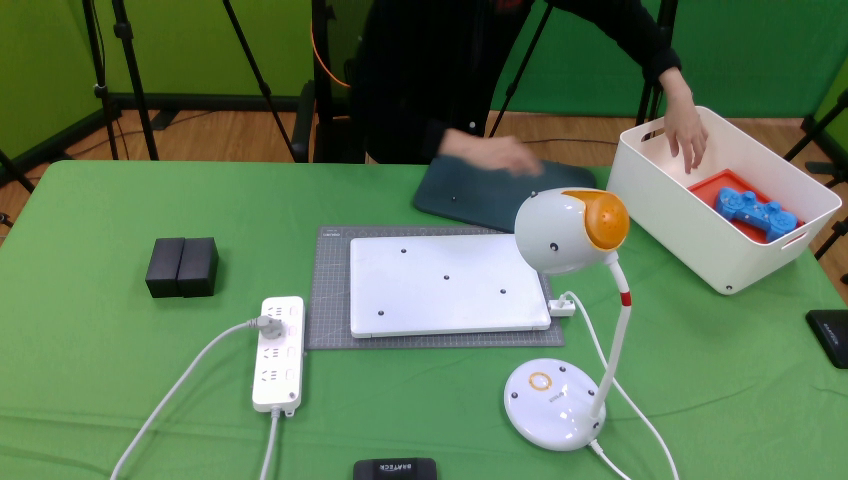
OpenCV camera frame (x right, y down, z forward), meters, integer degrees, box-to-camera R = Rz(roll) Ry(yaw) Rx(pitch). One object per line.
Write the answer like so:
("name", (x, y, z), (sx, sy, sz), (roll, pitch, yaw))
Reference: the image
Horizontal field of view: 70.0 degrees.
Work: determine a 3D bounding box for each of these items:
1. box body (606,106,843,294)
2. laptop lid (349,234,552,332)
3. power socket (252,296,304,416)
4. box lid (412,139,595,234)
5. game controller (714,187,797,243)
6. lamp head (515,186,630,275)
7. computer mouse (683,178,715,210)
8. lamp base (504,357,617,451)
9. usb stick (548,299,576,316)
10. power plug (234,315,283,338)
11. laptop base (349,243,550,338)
("box body", (0.582, -0.088, 1.230), (0.254, 0.161, 0.361), (-22, 52, -23))
("laptop lid", (0.040, 0.071, 1.118), (0.357, 0.013, 0.240), (0, 44, -5))
("power socket", (-0.238, 0.181, 0.997), (0.072, 0.033, 0.225), (-3, 47, -5))
("box lid", (0.182, -0.111, 1.327), (0.371, 0.015, 0.262), (14, 46, 10))
("game controller", (0.646, -0.057, 1.183), (0.154, 0.052, 0.097), (27, 54, 20))
("lamp head", (0.188, -0.013, 0.728), (0.112, 0.112, 0.122), (-25, 9, -25))
("computer mouse", (0.596, -0.078, 1.291), (0.117, 0.041, 0.063), (56, 46, -7))
("lamp base", (0.220, 0.211, 0.903), (0.160, 0.181, 0.178), (-33, 59, -30))
("usb stick", (0.239, 0.121, 1.084), (0.059, 0.027, 0.021), (-1, 51, -1))
("power plug", (-0.269, 0.143, 1.000), (0.072, 0.053, 0.035), (4, 47, 3))
("laptop base", (0.039, 0.081, 1.125), (0.355, 0.023, 0.234), (-2, 43, -6))
